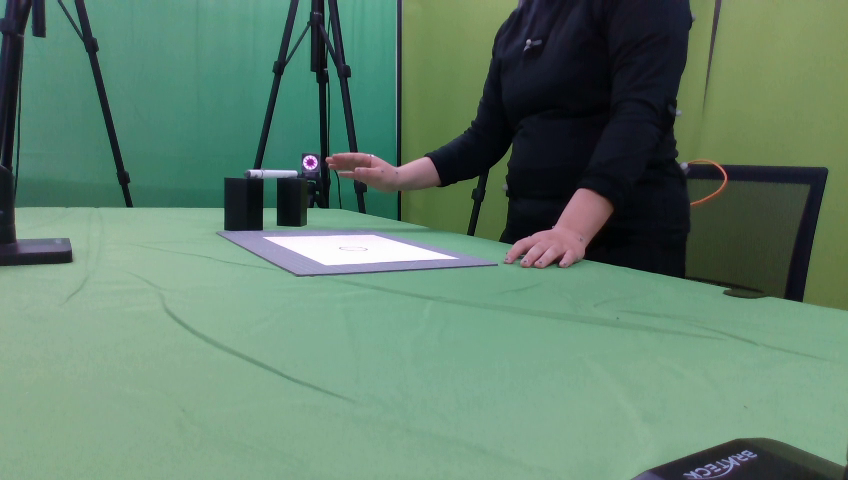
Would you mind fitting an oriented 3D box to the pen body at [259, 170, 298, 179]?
[{"bbox_3d":[-0.301,-0.131,1.211,0.017,0.017,0.144,6,8,24],"label":"pen body"}]

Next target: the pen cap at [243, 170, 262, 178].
[{"bbox_3d":[-0.328,-0.126,1.154,0.017,0.017,0.038,6,10,23],"label":"pen cap"}]
